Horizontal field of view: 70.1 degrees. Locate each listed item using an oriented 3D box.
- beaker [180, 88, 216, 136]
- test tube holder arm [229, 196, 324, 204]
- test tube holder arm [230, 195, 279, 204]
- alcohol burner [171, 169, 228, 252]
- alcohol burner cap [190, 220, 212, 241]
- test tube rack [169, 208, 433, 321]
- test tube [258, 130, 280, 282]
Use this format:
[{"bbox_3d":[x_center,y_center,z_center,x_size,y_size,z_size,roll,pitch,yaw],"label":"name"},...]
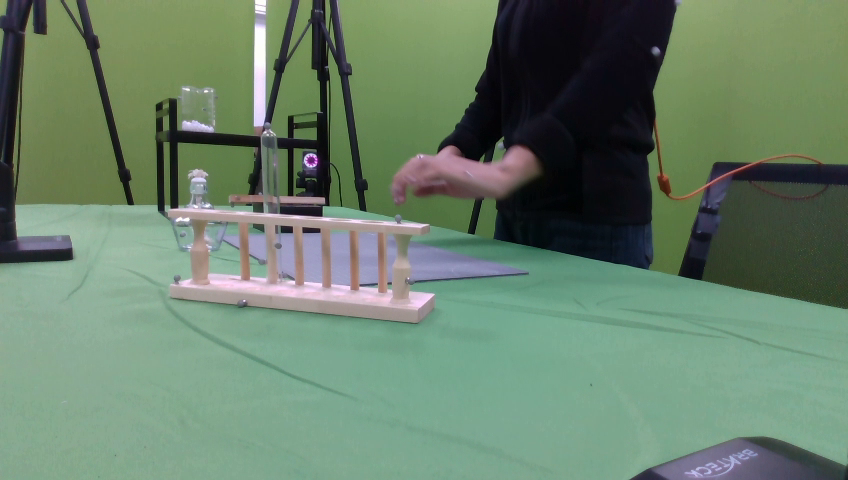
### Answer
[{"bbox_3d":[-0.497,-0.283,1.339,0.074,0.100,0.083,-2,9,-28],"label":"beaker"},{"bbox_3d":[-0.275,-0.076,1.143,0.179,0.015,0.013,-1,1,-32],"label":"test tube holder arm"},{"bbox_3d":[-0.311,-0.075,1.115,0.088,0.015,0.010,-1,1,-31],"label":"test tube holder arm"},{"bbox_3d":[-0.325,-0.043,0.875,0.078,0.119,0.078,1,7,0],"label":"alcohol burner"},{"bbox_3d":[-0.365,-0.023,0.988,0.034,0.048,0.034,2,7,0],"label":"alcohol burner cap"},{"bbox_3d":[-0.115,0.018,0.574,0.242,0.085,0.067,4,8,14],"label":"test tube rack"},{"bbox_3d":[-0.152,-0.032,0.596,0.017,0.150,0.017,0,9,0],"label":"test tube"}]
